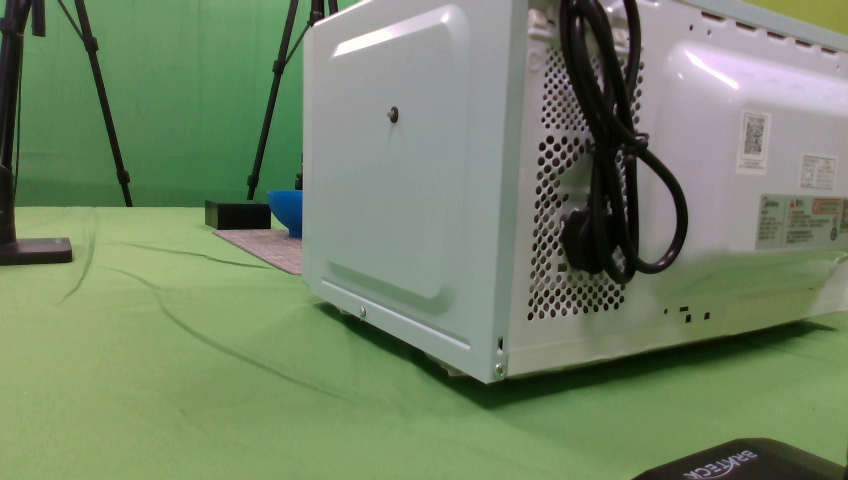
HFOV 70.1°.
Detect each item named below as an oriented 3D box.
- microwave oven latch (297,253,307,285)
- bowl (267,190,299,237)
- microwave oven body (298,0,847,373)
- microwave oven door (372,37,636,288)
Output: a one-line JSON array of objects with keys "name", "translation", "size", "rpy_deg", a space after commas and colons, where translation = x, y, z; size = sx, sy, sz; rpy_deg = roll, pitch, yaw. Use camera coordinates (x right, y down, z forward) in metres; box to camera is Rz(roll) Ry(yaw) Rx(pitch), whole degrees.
[{"name": "microwave oven latch", "translation": [-0.082, 0.027, 0.583], "size": [0.079, 0.029, 0.030], "rpy_deg": [-2, 8, -33]}, {"name": "bowl", "translation": [-0.202, -0.046, 1.070], "size": [0.151, 0.077, 0.151], "rpy_deg": [3, 7, 0]}, {"name": "microwave oven body", "translation": [0.151, -0.055, 0.543], "size": [0.444, 0.260, 0.324], "rpy_deg": [-1, 8, -33]}, {"name": "microwave oven door", "translation": [0.109, -0.080, 0.686], "size": [0.358, 0.243, 0.039], "rpy_deg": [-2, 9, -33]}]
